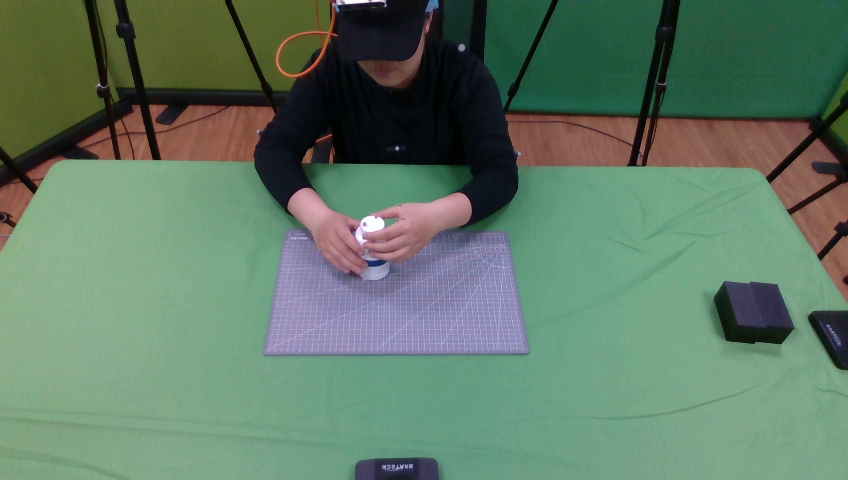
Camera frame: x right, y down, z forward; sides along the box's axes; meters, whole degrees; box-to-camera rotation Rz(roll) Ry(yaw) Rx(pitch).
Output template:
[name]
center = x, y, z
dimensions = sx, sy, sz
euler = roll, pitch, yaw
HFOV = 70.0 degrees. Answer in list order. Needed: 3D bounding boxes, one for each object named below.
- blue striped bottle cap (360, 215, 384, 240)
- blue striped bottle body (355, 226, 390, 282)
[blue striped bottle cap]
center = -0.092, -0.022, 1.070
dimensions = 0.044, 0.021, 0.044
euler = 2, 46, -1
[blue striped bottle body]
center = -0.095, 0.014, 1.107
dimensions = 0.063, 0.121, 0.062
euler = 3, 43, -2
